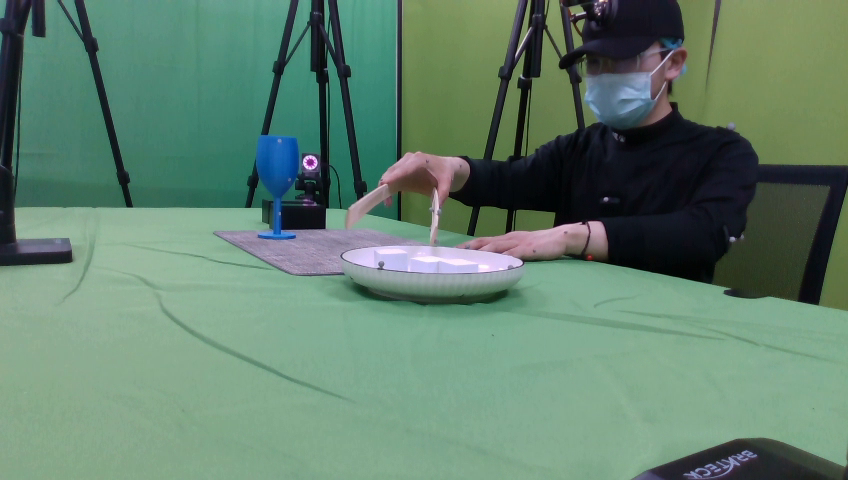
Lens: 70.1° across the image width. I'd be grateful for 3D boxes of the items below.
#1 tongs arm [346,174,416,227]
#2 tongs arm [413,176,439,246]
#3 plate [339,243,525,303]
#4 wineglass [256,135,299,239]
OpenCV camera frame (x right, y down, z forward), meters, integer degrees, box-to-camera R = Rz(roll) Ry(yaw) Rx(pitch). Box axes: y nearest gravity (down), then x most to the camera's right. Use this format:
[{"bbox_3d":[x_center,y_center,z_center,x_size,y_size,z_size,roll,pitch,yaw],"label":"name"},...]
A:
[{"bbox_3d":[-0.056,-0.066,0.874,0.028,0.028,0.388,10,13,6],"label":"tongs arm"},{"bbox_3d":[-0.002,-0.053,0.874,0.051,0.026,0.384,12,13,0],"label":"tongs arm"},{"bbox_3d":[0.008,0.035,0.682,0.209,0.038,0.209,3,7,0],"label":"plate"},{"bbox_3d":[-0.252,-0.091,1.035,0.074,0.172,0.073,2,7,0],"label":"wineglass"}]
